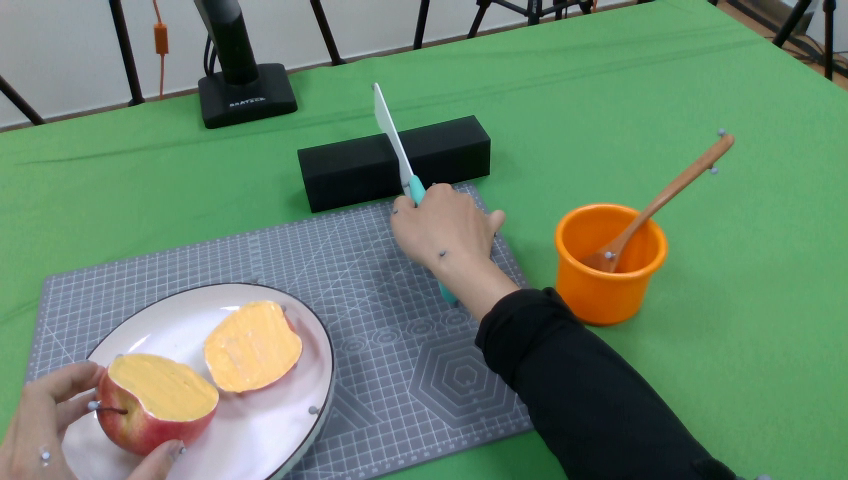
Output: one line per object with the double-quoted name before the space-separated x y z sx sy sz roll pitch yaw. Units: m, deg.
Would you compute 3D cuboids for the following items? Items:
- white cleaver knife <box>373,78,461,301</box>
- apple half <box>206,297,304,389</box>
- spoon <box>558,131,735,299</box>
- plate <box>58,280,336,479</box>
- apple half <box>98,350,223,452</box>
"white cleaver knife" -0.014 -0.059 0.625 0.021 0.066 0.283 -13 57 -9
"apple half" -0.137 0.091 0.501 0.081 0.033 0.080 -3 59 5
"spoon" 0.189 -0.019 0.522 0.022 0.194 0.041 23 27 -39
"plate" -0.172 0.121 0.480 0.209 0.038 0.207 -1 46 2
"apple half" -0.196 0.123 0.446 0.080 0.053 0.075 29 11 14
